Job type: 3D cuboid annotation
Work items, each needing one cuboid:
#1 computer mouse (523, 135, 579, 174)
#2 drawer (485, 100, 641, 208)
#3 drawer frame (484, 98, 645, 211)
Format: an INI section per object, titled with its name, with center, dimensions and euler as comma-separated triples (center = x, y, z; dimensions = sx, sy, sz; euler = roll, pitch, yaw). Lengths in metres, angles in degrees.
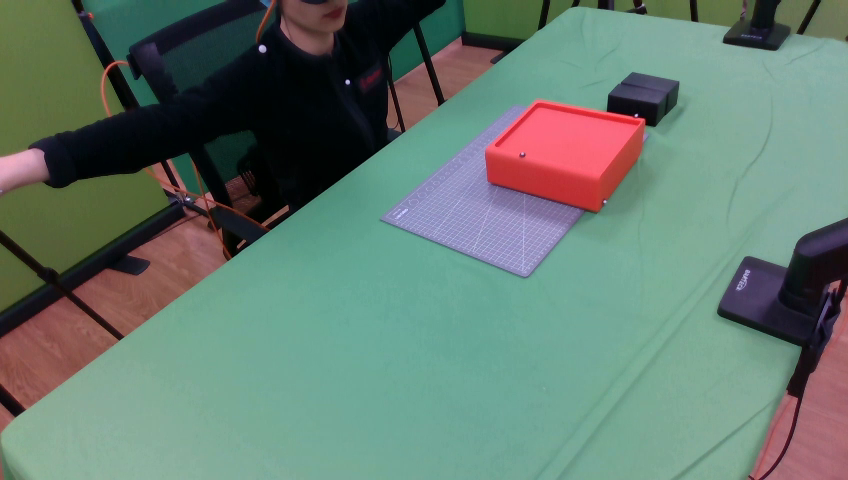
[computer mouse]
center = 0.232, -0.163, 1.100
dimensions = 0.062, 0.041, 0.117
euler = 19, 41, 34
[drawer]
center = 0.246, -0.158, 1.073
dimensions = 0.210, 0.073, 0.195
euler = 20, 48, 30
[drawer frame]
center = 0.248, -0.158, 1.070
dimensions = 0.212, 0.083, 0.202
euler = 20, 47, 29
